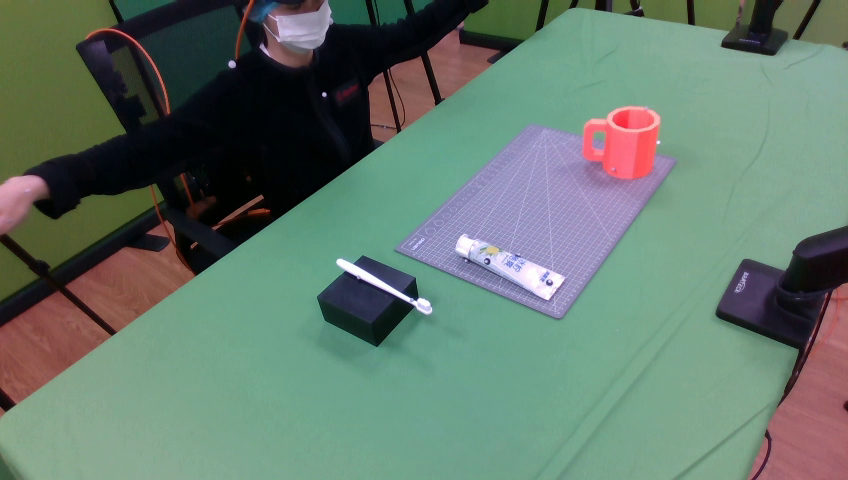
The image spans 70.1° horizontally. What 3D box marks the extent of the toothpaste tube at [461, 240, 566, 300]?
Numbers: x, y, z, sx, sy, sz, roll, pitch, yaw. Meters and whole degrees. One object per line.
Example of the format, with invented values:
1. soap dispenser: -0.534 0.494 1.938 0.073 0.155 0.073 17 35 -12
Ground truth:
1. toothpaste tube: 0.125 0.040 0.900 0.164 0.035 0.055 23 55 27

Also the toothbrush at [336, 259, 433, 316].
1. toothbrush: -0.059 0.062 0.839 0.180 0.017 0.014 24 54 33

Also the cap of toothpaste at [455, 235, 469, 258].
1. cap of toothpaste: 0.062 0.010 0.936 0.011 0.037 0.037 23 49 27

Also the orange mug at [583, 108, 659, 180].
1. orange mug: 0.343 -0.171 1.061 0.126 0.101 0.083 10 43 15
